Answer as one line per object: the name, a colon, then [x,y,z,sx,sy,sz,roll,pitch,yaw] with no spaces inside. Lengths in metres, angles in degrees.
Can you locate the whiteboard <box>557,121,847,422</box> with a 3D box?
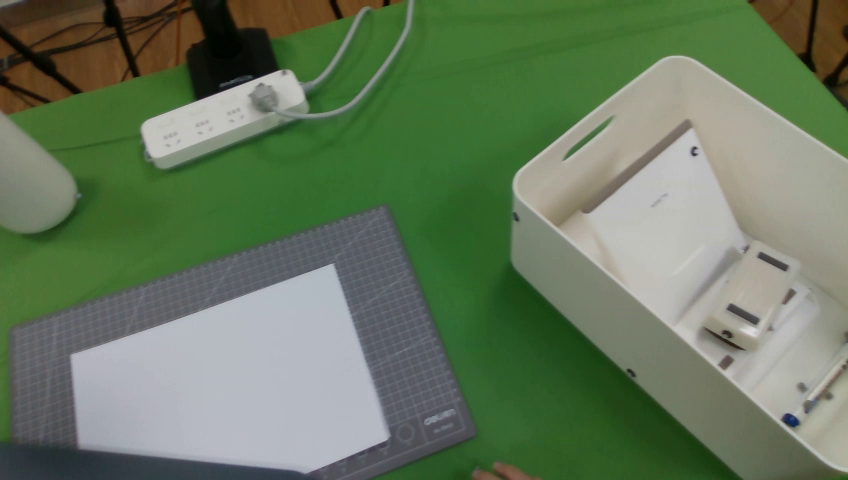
whiteboard: [0.286,0.022,0.615,0.217,0.145,0.303,-38,65,-20]

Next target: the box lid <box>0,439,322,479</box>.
box lid: [-0.286,0.328,0.548,0.371,0.015,0.261,4,62,5]

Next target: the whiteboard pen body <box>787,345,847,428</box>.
whiteboard pen body: [0.412,0.138,0.611,0.140,0.017,0.017,-38,65,-18]

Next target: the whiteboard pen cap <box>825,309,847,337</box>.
whiteboard pen cap: [0.435,0.087,0.633,0.033,0.018,0.018,-36,64,-16]

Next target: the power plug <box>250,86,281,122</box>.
power plug: [-0.203,-0.166,0.781,0.035,0.053,0.072,-15,67,-5]

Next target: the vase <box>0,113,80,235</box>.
vase: [-0.482,-0.088,0.682,0.098,0.202,0.097,-2,60,4]

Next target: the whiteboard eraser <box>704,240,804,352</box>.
whiteboard eraser: [0.333,0.056,0.612,0.055,0.042,0.112,30,65,25]

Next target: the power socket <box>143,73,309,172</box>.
power socket: [-0.261,-0.158,0.805,0.227,0.033,0.071,-24,63,-11]

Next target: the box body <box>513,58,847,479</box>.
box body: [0.291,0.026,0.600,0.254,0.162,0.361,-39,66,-17]

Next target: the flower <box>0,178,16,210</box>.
flower: [-0.465,-0.128,0.609,0.038,0.363,0.044,28,56,-1]
